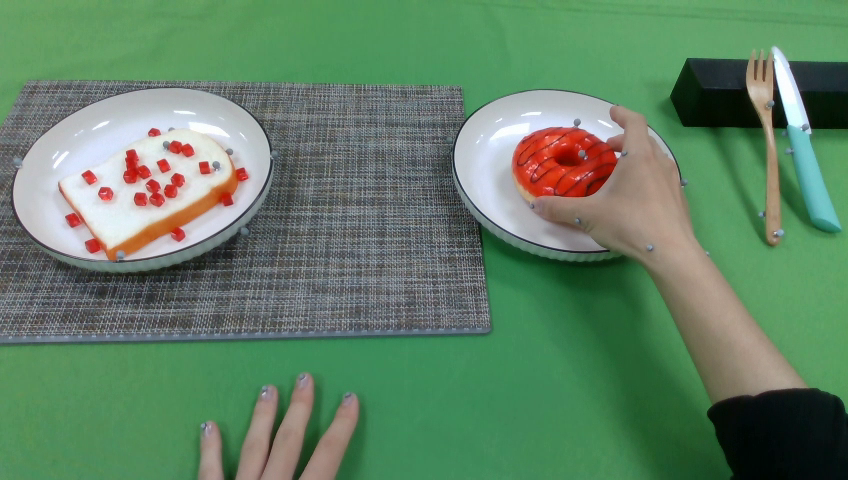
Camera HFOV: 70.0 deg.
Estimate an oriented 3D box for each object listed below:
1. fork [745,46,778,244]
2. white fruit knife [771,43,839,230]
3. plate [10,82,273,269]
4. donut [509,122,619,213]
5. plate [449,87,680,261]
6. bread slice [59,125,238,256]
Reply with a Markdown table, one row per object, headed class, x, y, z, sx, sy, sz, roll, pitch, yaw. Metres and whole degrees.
| class | x | y | z | sx | sy | sz | roll | pitch | yaw |
| --- | --- | --- | --- | --- | --- | --- | --- | --- | --- |
| fork | 0.325 | -0.095 | 0.576 | 0.028 | 0.019 | 0.206 | 9 | 70 | -4 |
| white fruit knife | 0.365 | -0.107 | 0.591 | 0.027 | 0.016 | 0.206 | 0 | 70 | -7 |
| plate | -0.236 | -0.057 | 0.525 | 0.209 | 0.038 | 0.207 | 2 | 53 | -2 |
| donut | 0.126 | -0.067 | 0.551 | 0.099 | 0.048 | 0.098 | 2 | 53 | -3 |
| plate | 0.125 | -0.061 | 0.560 | 0.208 | 0.039 | 0.205 | 2 | 52 | -3 |
| bread slice | -0.233 | -0.053 | 0.525 | 0.131 | 0.019 | 0.104 | -36 | 64 | -26 |
